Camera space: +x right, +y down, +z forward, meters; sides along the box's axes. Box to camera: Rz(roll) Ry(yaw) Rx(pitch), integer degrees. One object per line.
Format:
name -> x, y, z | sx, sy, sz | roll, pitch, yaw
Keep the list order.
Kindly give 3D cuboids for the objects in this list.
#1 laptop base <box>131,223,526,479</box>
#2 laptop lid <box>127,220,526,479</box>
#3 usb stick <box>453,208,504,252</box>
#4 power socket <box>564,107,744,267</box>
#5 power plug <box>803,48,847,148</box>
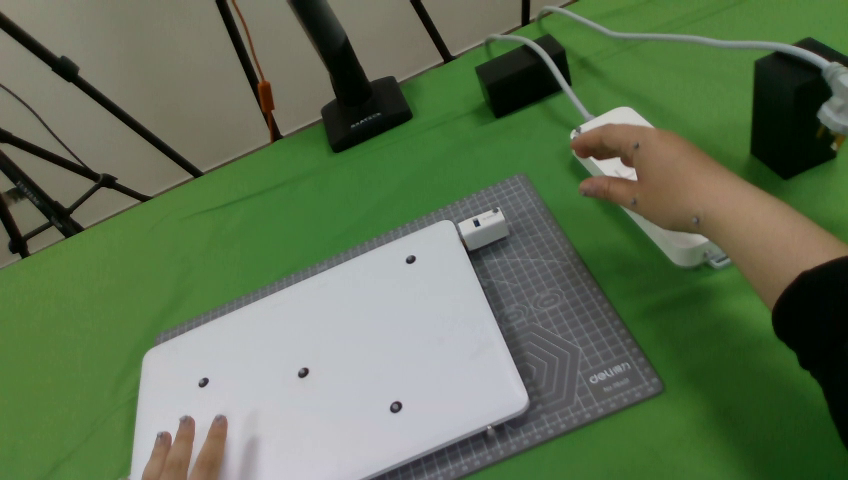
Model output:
laptop base -> -0.105, 0.130, 0.555 | 0.354, 0.023, 0.232 | -24, 45, 2
laptop lid -> -0.109, 0.123, 0.545 | 0.357, 0.013, 0.239 | -23, 45, 4
usb stick -> 0.047, -0.007, 0.597 | 0.059, 0.027, 0.021 | -25, 42, 6
power socket -> 0.209, -0.059, 0.576 | 0.072, 0.033, 0.224 | -26, 42, 0
power plug -> 0.316, -0.110, 0.475 | 0.035, 0.053, 0.072 | 4, 48, 0
